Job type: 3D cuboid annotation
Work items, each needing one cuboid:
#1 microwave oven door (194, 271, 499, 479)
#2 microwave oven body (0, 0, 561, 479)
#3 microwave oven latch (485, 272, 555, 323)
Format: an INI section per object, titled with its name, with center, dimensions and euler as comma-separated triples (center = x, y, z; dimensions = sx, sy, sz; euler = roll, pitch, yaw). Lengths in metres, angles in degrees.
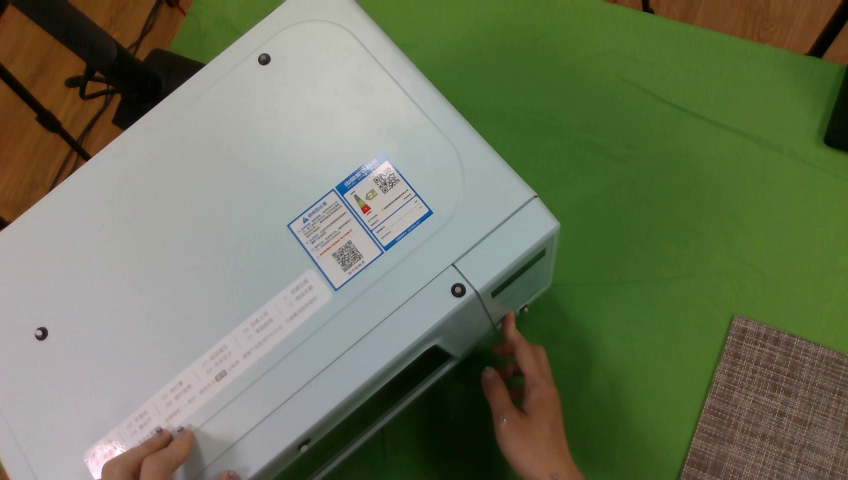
[microwave oven door]
center = -0.087, 0.166, 0.535
dimensions = 0.356, 0.245, 0.039
euler = -40, 72, -2
[microwave oven body]
center = -0.144, 0.034, 0.583
dimensions = 0.441, 0.262, 0.324
euler = -40, 73, -1
[microwave oven latch]
center = 0.101, 0.053, 0.637
dimensions = 0.079, 0.030, 0.030
euler = -38, 73, 0
